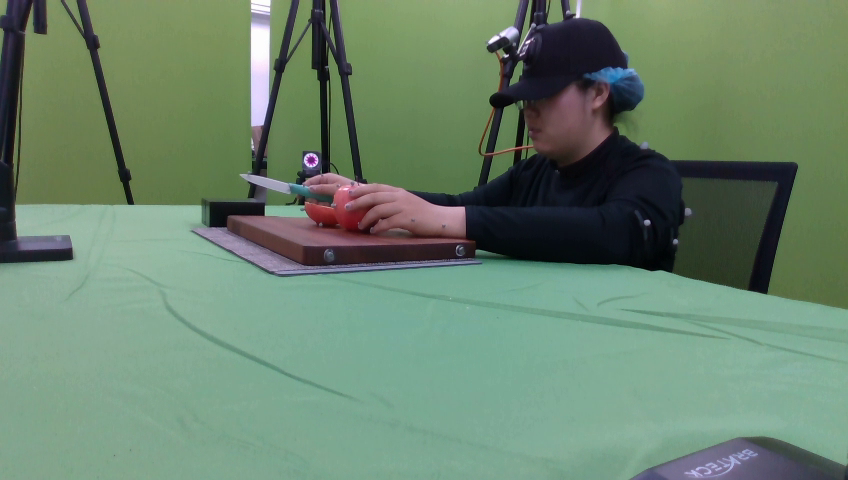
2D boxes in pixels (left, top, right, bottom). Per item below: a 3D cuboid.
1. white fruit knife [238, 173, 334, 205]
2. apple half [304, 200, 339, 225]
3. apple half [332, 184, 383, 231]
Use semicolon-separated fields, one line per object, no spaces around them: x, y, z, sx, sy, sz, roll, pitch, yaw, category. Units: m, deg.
-0.266;-0.103;1.207;0.208;0.027;0.016;14;29;-27;white fruit knife
-0.163;-0.040;1.000;0.081;0.033;0.081;15;-2;1;apple half
-0.097;-0.050;0.948;0.081;0.074;0.053;0;12;-43;apple half
